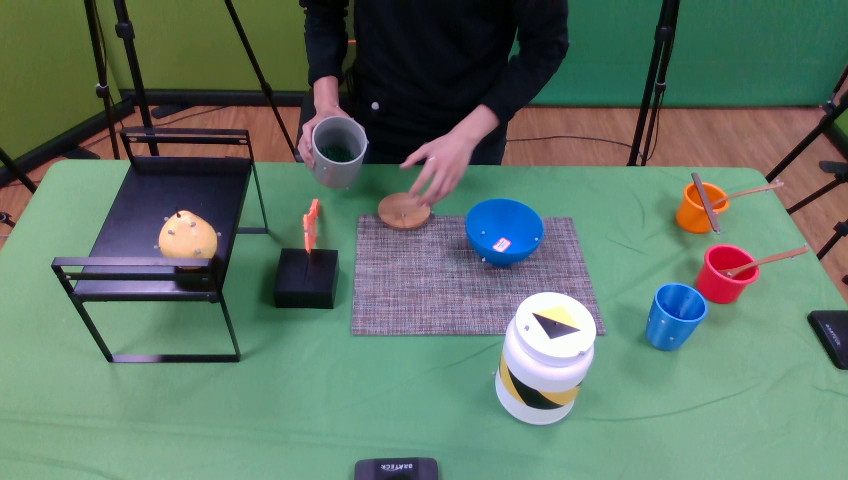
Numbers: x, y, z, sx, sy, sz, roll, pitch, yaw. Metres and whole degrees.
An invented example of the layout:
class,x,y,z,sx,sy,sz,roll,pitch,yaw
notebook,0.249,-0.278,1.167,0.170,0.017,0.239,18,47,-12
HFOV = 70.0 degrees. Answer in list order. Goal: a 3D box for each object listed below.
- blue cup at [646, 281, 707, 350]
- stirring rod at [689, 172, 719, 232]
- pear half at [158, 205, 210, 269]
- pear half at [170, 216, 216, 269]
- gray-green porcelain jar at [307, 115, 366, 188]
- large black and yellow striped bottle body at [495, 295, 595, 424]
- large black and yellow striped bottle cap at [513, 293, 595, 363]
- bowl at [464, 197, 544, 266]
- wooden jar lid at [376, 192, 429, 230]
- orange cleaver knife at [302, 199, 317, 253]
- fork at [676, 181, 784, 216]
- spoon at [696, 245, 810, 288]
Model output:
class,x,y,z,sx,sy,sz,roll,pitch,yaw
blue cup,0.425,0.136,1.042,0.092,0.101,0.092,1,44,-1
stirring rod,0.565,-0.080,1.224,0.014,0.006,0.175,3,46,0
pear half,-0.352,-0.015,0.872,0.056,0.110,0.076,25,46,19
pear half,-0.324,0.007,0.866,0.031,0.088,0.070,25,46,20
gray-green porcelain jar,-0.177,-0.169,1.201,0.106,0.127,0.105,5,69,-14
large black and yellow striped bottle body,0.183,0.182,0.923,0.131,0.185,0.130,2,46,-2
large black and yellow striped bottle cap,0.186,0.123,0.863,0.115,0.019,0.114,3,45,-3
bowl,0.149,-0.004,1.168,0.151,0.077,0.150,2,46,-2
wooden jar lid,-0.044,-0.059,1.246,0.108,0.021,0.107,3,42,-3
orange cleaver knife,-0.219,-0.031,1.168,0.012,0.077,0.210,-5,17,-3
fork,0.618,-0.084,1.235,0.207,0.019,0.028,-23,20,38
spoon,0.601,0.047,1.114,0.193,0.022,0.041,-26,36,33
